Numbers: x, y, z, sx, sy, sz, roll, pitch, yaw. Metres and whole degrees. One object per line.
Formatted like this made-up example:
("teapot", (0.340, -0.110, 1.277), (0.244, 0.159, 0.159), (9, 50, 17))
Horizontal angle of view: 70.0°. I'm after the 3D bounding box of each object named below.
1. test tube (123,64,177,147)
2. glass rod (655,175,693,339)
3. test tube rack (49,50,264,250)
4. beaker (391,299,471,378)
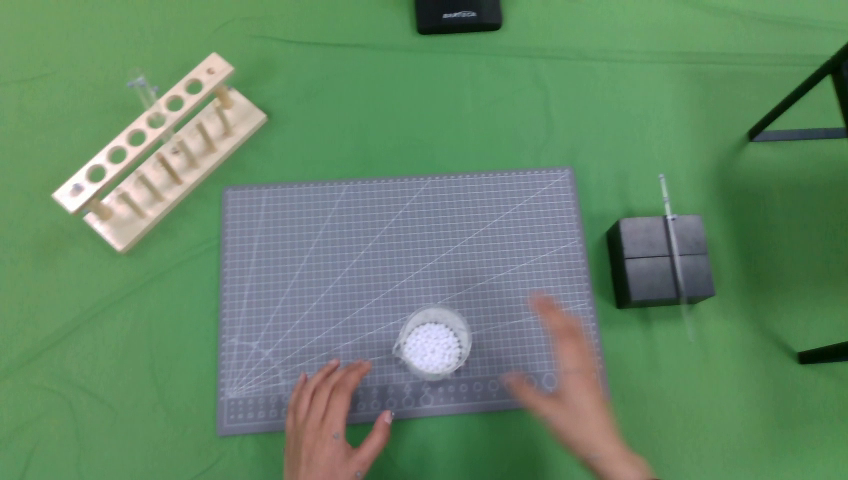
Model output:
("test tube", (-0.306, -0.147, 0.686), (0.017, 0.151, 0.017), (2, 69, -5))
("glass rod", (0.292, 0.016, 0.710), (0.008, 0.008, 0.198), (-4, 73, -4))
("test tube rack", (-0.309, -0.107, 0.726), (0.066, 0.085, 0.242), (39, 75, 9))
("beaker", (0.005, 0.114, 0.667), (0.084, 0.101, 0.073), (-14, 73, -7))
